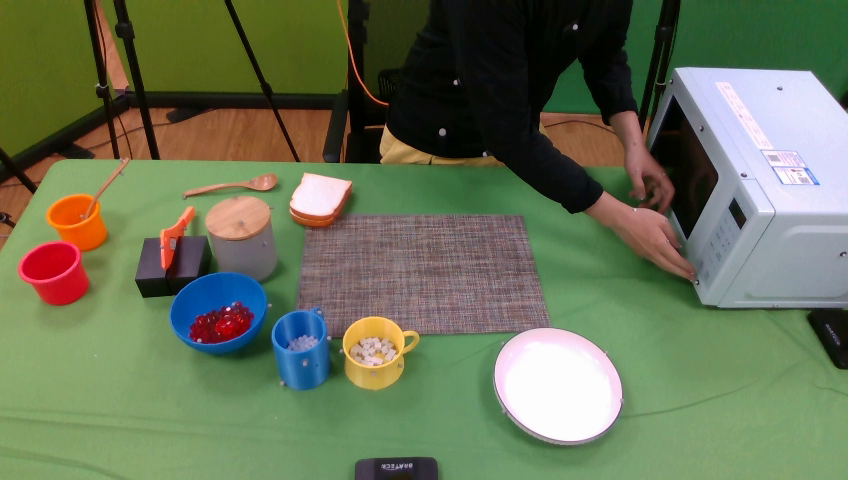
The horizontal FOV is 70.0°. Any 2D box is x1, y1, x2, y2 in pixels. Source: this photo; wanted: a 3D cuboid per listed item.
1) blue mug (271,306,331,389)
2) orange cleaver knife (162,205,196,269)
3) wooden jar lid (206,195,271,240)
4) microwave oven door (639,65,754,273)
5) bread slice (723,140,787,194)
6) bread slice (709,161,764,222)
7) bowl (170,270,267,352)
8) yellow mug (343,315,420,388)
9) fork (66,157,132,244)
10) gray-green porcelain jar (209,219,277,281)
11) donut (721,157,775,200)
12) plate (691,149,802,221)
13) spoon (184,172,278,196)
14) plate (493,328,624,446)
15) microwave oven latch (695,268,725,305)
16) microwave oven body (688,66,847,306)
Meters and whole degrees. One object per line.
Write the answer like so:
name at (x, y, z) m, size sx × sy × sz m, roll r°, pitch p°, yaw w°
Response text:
blue mug at (-0.187, 0.163, 0.969) m, size 0.082 × 0.106 × 0.116 m, roll 15°, pitch 47°, yaw 10°
orange cleaver knife at (-0.454, -0.010, 1.129) m, size 0.012 × 0.077 × 0.210 m, roll -2°, pitch 20°, yaw -5°
wooden jar lid at (-0.319, -0.036, 1.046) m, size 0.108 × 0.021 × 0.107 m, roll 1°, pitch 44°, yaw -1°
microwave oven door at (0.522, -0.147, 1.193) m, size 0.039 × 0.245 × 0.353 m, roll 0°, pitch 47°, yaw -3°
bread slice at (0.661, -0.147, 1.200) m, size 0.107 × 0.018 × 0.133 m, roll 0°, pitch 54°, yaw 10°
bread slice at (0.652, -0.105, 1.260) m, size 0.105 × 0.019 × 0.131 m, roll 10°, pitch 68°, yaw 9°
bowl at (-0.333, 0.132, 1.006) m, size 0.151 × 0.077 × 0.150 m, roll 2°, pitch 46°, yaw -2°
yellow mug at (-0.067, 0.177, 0.990) m, size 0.131 × 0.064 × 0.099 m, roll -16°, pitch 50°, yaw -19°
fork at (-0.608, -0.074, 1.133) m, size 0.207 × 0.019 × 0.028 m, roll -52°, pitch 50°, yaw 10°
gray-green porcelain jar at (-0.323, 0.007, 1.092) m, size 0.106 × 0.127 × 0.105 m, roll 2°, pitch 46°, yaw -2°
donut at (0.648, -0.124, 1.214) m, size 0.099 × 0.048 × 0.098 m, roll -4°, pitch 55°, yaw 5°
plate at (0.652, -0.109, 1.238) m, size 0.209 × 0.038 × 0.208 m, roll -1°, pitch 47°, yaw 1°
spoon at (-0.405, -0.116, 1.275) m, size 0.194 × 0.022 × 0.041 m, roll -8°, pitch 65°, yaw -12°
plate at (0.213, 0.236, 0.974) m, size 0.208 × 0.039 × 0.206 m, roll 2°, pitch 46°, yaw -2°
microwave oven latch at (0.525, 0.083, 1.115) m, size 0.030 × 0.029 × 0.078 m, roll 5°, pitch 46°, yaw 2°
microwave oven body at (0.670, -0.111, 1.176) m, size 0.326 × 0.261 × 0.439 m, roll 0°, pitch 46°, yaw -3°
